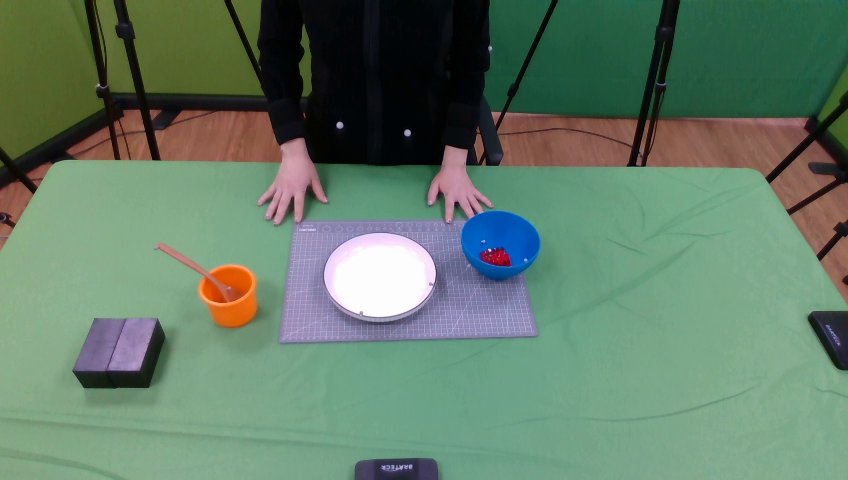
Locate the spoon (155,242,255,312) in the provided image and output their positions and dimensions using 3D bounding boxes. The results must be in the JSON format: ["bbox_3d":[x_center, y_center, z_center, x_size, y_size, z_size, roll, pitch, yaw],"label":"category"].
[{"bbox_3d":[-0.366,0.061,1.021,0.021,0.195,0.041,-27,32,32],"label":"spoon"}]

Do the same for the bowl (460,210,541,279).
[{"bbox_3d":[0.140,0.021,1.145,0.151,0.077,0.150,2,46,-2],"label":"bowl"}]

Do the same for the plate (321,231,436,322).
[{"bbox_3d":[-0.083,0.070,1.109,0.209,0.038,0.208,3,46,-3],"label":"plate"}]
